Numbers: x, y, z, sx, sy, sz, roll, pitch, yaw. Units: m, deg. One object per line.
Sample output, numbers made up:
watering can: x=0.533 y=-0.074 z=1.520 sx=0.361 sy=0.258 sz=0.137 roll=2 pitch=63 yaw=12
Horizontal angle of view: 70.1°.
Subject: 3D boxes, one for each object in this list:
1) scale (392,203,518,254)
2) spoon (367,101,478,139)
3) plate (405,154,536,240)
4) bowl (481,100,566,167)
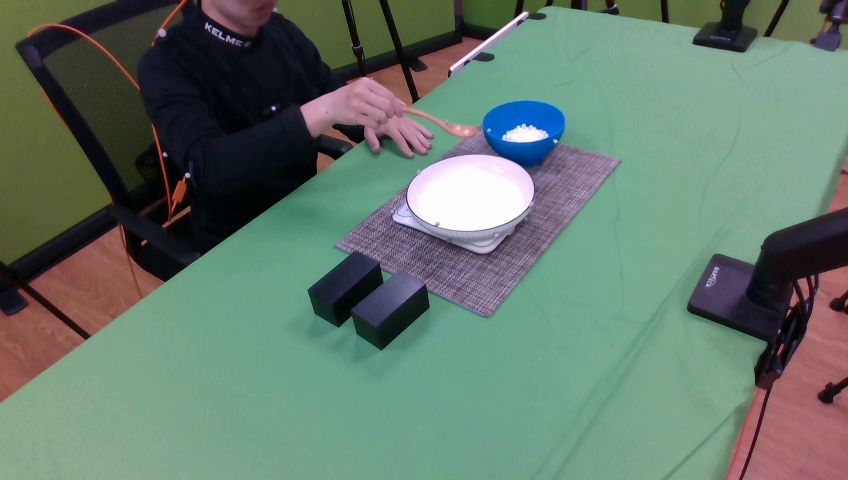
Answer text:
scale: x=0.061 y=-0.051 z=1.006 sx=0.199 sy=0.032 sz=0.149 roll=22 pitch=48 yaw=30
spoon: x=-0.001 y=-0.209 z=1.031 sx=0.194 sy=0.021 sz=0.041 roll=16 pitch=49 yaw=-12
plate: x=0.075 y=-0.067 z=0.973 sx=0.209 sy=0.038 sz=0.208 roll=-4 pitch=41 yaw=4
bowl: x=0.183 y=-0.187 z=1.111 sx=0.151 sy=0.077 sz=0.150 roll=-4 pitch=41 yaw=4
